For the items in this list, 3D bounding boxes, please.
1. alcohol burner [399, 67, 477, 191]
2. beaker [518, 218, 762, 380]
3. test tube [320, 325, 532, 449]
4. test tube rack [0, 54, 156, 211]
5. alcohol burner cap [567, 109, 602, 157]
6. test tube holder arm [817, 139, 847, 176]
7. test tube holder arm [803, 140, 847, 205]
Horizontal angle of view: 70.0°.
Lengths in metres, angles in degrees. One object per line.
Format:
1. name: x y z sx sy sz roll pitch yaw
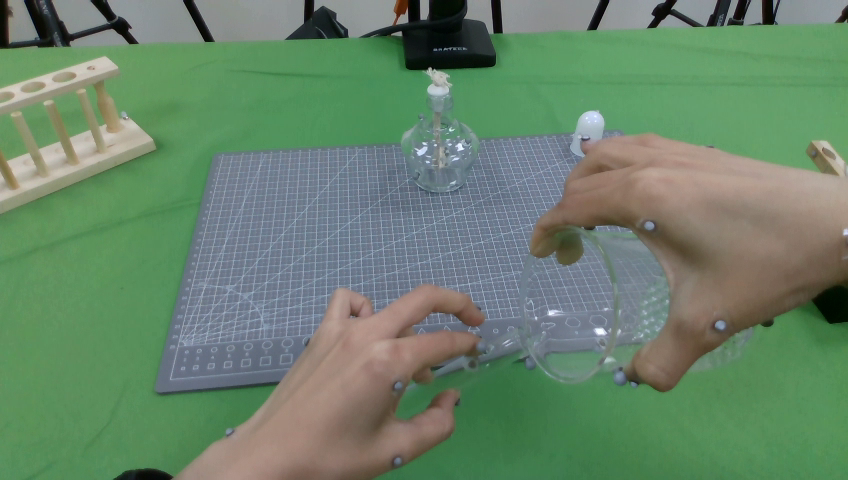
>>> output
1. alcohol burner: 0.013 -0.108 0.581 0.078 0.120 0.077 -1 42 1
2. beaker: 0.108 0.032 0.307 0.101 0.084 0.073 2 57 -24
3. test tube: -0.004 0.087 0.346 0.150 0.017 0.017 -33 38 23
4. test tube rack: -0.399 -0.091 0.582 0.242 0.086 0.066 -32 52 -30
5. alcohol burner cap: 0.172 -0.116 0.645 0.034 0.048 0.033 1 43 0
6. test tube holder arm: 0.372 -0.030 0.508 0.013 0.015 0.176 -7 43 3
7. test tube holder arm: 0.365 -0.060 0.540 0.010 0.015 0.087 -7 43 4
